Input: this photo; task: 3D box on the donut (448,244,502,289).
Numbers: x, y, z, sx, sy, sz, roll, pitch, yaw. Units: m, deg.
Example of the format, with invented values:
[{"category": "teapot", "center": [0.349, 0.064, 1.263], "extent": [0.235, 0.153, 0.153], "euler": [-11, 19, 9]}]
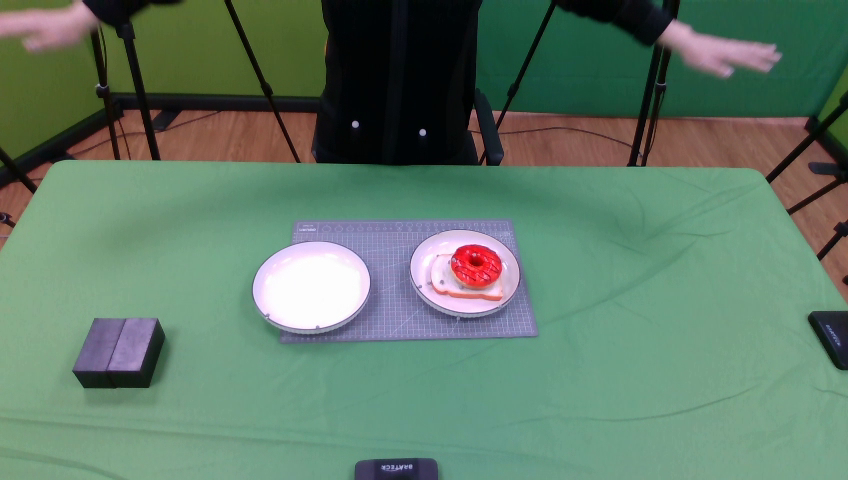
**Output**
[{"category": "donut", "center": [0.092, 0.048, 1.105], "extent": [0.099, 0.048, 0.098], "euler": [3, 45, -3]}]

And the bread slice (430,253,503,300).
[{"category": "bread slice", "center": [0.078, 0.066, 1.125], "extent": [0.134, 0.018, 0.106], "euler": [0, 45, -2]}]

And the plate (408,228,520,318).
[{"category": "plate", "center": [0.074, 0.063, 1.128], "extent": [0.209, 0.038, 0.208], "euler": [2, 46, -2]}]

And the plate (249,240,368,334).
[{"category": "plate", "center": [-0.204, 0.086, 1.084], "extent": [0.208, 0.039, 0.206], "euler": [2, 46, -2]}]
